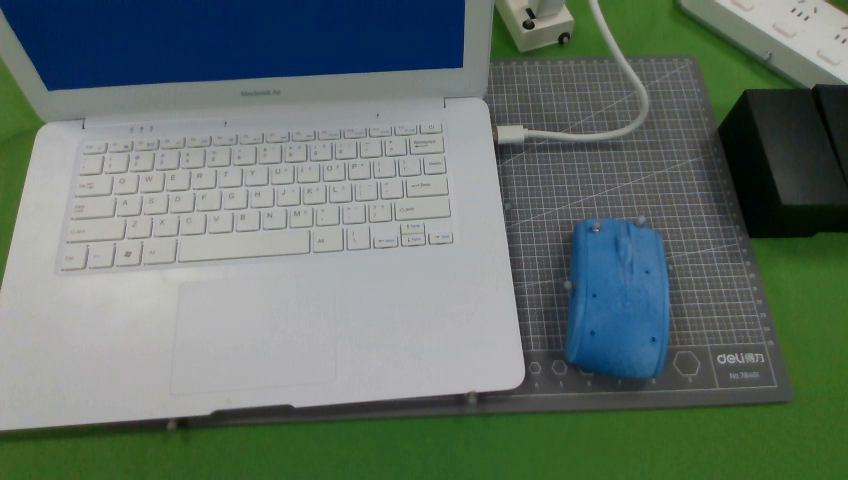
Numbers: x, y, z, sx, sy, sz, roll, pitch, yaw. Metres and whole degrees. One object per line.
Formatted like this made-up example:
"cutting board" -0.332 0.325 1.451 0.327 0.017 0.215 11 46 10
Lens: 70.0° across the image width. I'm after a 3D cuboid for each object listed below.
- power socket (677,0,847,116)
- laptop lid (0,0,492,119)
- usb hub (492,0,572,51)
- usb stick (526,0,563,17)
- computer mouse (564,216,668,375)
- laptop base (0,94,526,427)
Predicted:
"power socket" 0.325 -0.177 0.522 0.072 0.033 0.225 -41 71 -19
"laptop lid" -0.128 -0.179 0.395 0.357 0.244 0.013 -5 51 -1
"usb hub" 0.084 -0.228 0.547 0.049 0.025 0.124 -17 65 -9
"usb stick" 0.102 -0.207 0.505 0.027 0.059 0.021 -20 64 -8
"computer mouse" 0.131 0.033 0.412 0.063 0.041 0.116 9 60 6
"laptop base" -0.117 0.003 0.437 0.354 0.023 0.233 -4 68 -2
